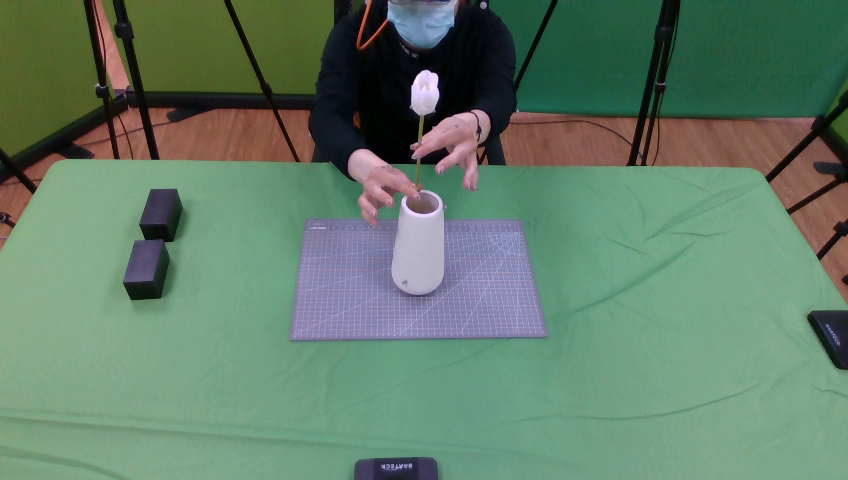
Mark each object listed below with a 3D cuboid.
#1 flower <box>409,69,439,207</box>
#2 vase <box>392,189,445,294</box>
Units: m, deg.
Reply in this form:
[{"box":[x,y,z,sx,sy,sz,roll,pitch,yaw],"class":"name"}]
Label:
[{"box":[-0.013,-0.114,0.954,0.038,0.363,0.044,-10,57,-13],"class":"flower"},{"box":[-0.007,0.006,1.060,0.098,0.201,0.097,2,48,-2],"class":"vase"}]
